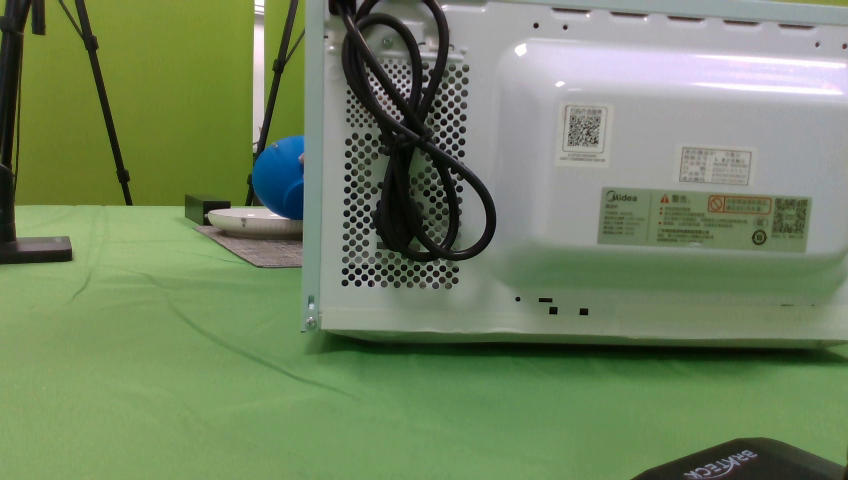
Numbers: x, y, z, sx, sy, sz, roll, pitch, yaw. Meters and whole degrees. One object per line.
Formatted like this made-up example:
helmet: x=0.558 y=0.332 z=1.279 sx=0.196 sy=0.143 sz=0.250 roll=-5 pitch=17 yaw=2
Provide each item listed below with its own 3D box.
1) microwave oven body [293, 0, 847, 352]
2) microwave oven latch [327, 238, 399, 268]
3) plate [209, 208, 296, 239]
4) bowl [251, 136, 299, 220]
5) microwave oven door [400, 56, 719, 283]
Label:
microwave oven body: x=0.122 y=-0.055 z=0.550 sx=0.442 sy=0.260 sz=0.325 roll=3 pitch=7 yaw=-5
microwave oven latch: x=-0.069 y=0.015 z=0.694 sx=0.079 sy=0.029 sz=0.030 roll=3 pitch=7 yaw=-3
plate: x=-0.271 y=-0.029 z=1.074 sx=0.208 sy=0.039 sz=0.207 roll=3 pitch=7 yaw=0
bowl: x=-0.197 y=-0.084 z=0.979 sx=0.152 sy=0.151 sz=0.076 roll=-1 pitch=38 yaw=-27
microwave oven door: x=0.155 y=-0.077 z=0.698 sx=0.356 sy=0.243 sz=0.039 roll=2 pitch=8 yaw=-5
